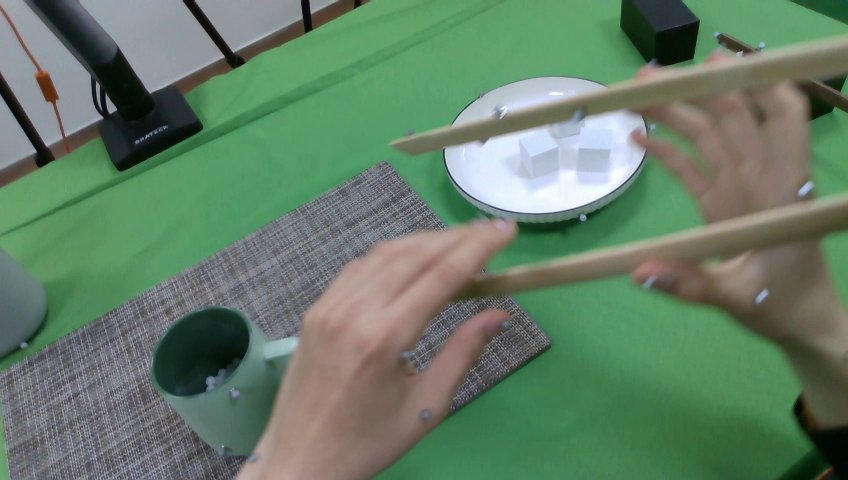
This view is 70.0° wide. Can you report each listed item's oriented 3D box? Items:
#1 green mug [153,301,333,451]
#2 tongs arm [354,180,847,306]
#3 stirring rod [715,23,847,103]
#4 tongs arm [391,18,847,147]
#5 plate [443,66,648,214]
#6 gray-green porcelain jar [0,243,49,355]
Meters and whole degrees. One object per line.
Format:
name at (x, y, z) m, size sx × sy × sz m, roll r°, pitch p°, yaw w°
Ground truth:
green mug at (-0.136, 0.105, 0.484) m, size 0.125 × 0.106 × 0.091 m, roll -13°, pitch 50°, yaw 2°
tongs arm at (0.093, -0.001, 0.307) m, size 0.386 × 0.028 × 0.028 m, roll -17°, pitch 52°, yaw 43°
stirring rod at (0.350, -0.168, 0.581) m, size 0.006 × 0.014 × 0.174 m, roll -28°, pitch 51°, yaw -13°
tongs arm at (0.106, -0.068, 0.328) m, size 0.382 × 0.027 × 0.050 m, roll -5°, pitch 65°, yaw 48°
plate at (0.124, -0.103, 0.635) m, size 0.207 × 0.039 × 0.205 m, roll -6°, pitch 51°, yaw 8°
gray-green porcelain jar at (-0.449, 0.049, 0.592) m, size 0.106 × 0.128 × 0.105 m, roll -6°, pitch 51°, yaw 8°
